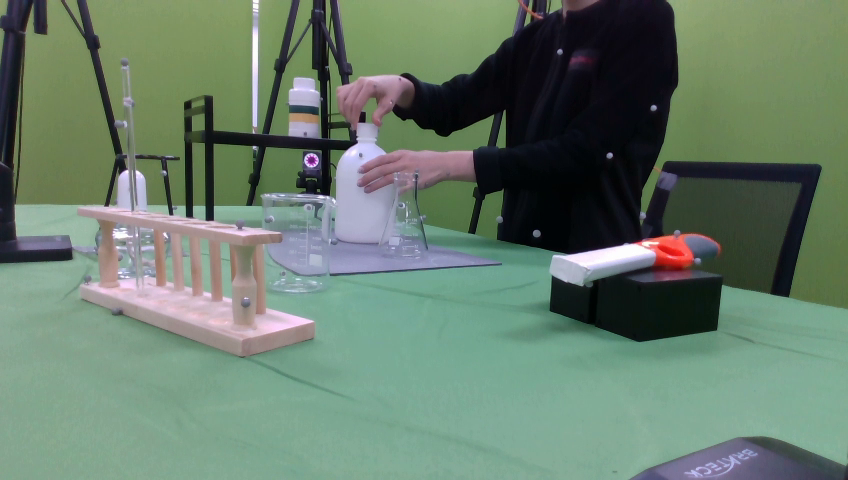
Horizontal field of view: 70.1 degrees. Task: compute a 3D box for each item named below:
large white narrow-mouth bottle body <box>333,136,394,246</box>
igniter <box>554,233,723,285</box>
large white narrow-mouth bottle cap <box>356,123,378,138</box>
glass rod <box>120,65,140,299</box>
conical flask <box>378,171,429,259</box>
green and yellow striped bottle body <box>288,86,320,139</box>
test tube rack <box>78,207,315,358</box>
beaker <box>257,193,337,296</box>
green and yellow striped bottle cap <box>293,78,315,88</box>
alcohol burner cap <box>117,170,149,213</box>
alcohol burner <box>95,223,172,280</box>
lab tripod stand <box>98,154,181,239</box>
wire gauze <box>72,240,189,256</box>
[{"bbox_3d":[-0.100,-0.093,1.017,0.102,0.194,0.101,4,9,0],"label":"large white narrow-mouth bottle body"},{"bbox_3d":[0.214,0.015,0.570,0.278,0.025,0.057,-5,22,-44],"label":"igniter"},{"bbox_3d":[-0.094,-0.182,1.002,0.038,0.024,0.037,4,9,0],"label":"large white narrow-mouth bottle cap"},{"bbox_3d":[-0.249,-0.047,0.513,0.008,0.199,0.008,-1,4,0],"label":"glass rod"},{"bbox_3d":[-0.027,-0.037,0.869,0.075,0.122,0.075,3,7,0],"label":"conical flask"},{"bbox_3d":[-0.250,-0.272,1.261,0.063,0.119,0.063,3,7,0],"label":"green and yellow striped bottle body"},{"bbox_3d":[-0.196,0.023,0.500,0.241,0.085,0.067,8,9,37],"label":"test tube rack"},{"bbox_3d":[-0.130,0.003,0.628,0.084,0.100,0.074,5,8,15],"label":"beaker"},{"bbox_3d":[-0.248,-0.323,1.256,0.045,0.020,0.045,4,8,0],"label":"green and yellow striped bottle cap"},{"bbox_3d":[-0.320,-0.052,0.661,0.034,0.048,0.034,-3,0,0],"label":"alcohol burner cap"},{"bbox_3d":[-0.320,-0.017,0.667,0.078,0.119,0.078,0,7,0],"label":"alcohol burner"},{"bbox_3d":[-0.427,-0.066,0.942,0.148,0.131,0.148,1,6,0],"label":"lab tripod stand"},{"bbox_3d":[-0.399,0.013,0.820,0.126,0.011,0.121,-3,8,-37],"label":"wire gauze"}]
